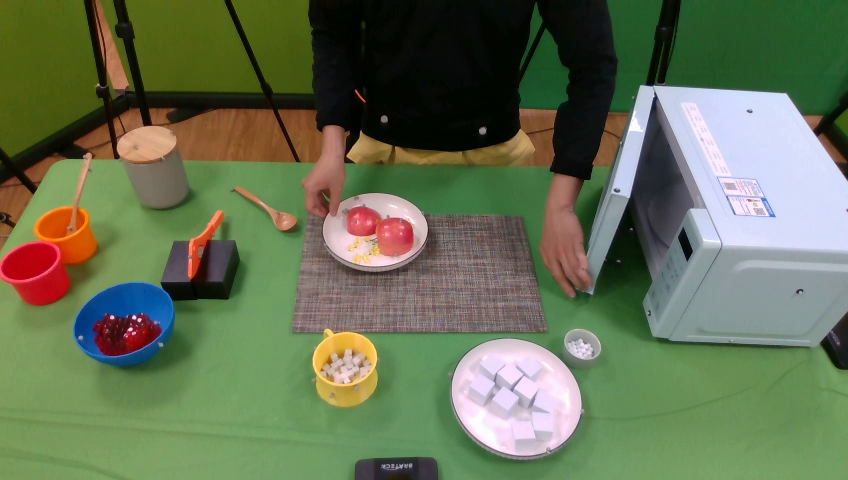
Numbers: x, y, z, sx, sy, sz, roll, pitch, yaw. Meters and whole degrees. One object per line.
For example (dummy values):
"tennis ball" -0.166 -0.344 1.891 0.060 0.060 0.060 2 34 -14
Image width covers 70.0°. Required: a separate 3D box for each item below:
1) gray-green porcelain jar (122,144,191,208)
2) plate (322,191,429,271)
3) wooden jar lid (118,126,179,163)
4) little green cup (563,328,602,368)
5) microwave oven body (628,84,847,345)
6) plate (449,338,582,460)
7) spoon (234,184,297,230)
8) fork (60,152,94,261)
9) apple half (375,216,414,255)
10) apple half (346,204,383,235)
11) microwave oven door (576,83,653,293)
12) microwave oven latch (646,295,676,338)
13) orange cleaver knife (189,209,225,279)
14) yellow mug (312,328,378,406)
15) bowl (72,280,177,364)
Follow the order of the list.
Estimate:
"gray-green porcelain jar" -0.531 -0.137 1.213 0.106 0.127 0.105 2 47 -2
"plate" -0.093 -0.015 1.185 0.209 0.038 0.208 2 46 -2
"wooden jar lid" -0.528 -0.181 1.167 0.108 0.021 0.107 3 47 -4
"little green cup" 0.266 0.185 1.025 0.061 0.039 0.061 2 44 -2
"microwave oven body" 0.569 -0.054 1.116 0.326 0.261 0.439 2 46 -1
"plate" 0.141 0.251 0.956 0.208 0.039 0.206 2 46 -2
"spoon" -0.327 -0.073 1.239 0.193 0.022 0.041 34 71 25
"fork" -0.638 -0.063 1.119 0.028 0.018 0.207 12 90 8
"apple half" -0.056 -0.017 1.169 0.075 0.053 0.080 0 45 -7
"apple half" -0.119 -0.049 1.207 0.081 0.033 0.081 3 50 -3
"microwave oven door" 0.366 -0.106 1.144 0.039 0.245 0.354 18 48 13
"microwave oven latch" 0.413 0.133 1.060 0.030 0.029 0.078 4 46 1
"orange cleaver knife" -0.400 0.002 1.122 0.012 0.077 0.210 4 23 -4
"yellow mug" -0.132 0.193 0.971 0.100 0.064 0.130 -22 51 -22
"bowl" -0.472 0.147 0.982 0.151 0.077 0.150 2 46 -2
